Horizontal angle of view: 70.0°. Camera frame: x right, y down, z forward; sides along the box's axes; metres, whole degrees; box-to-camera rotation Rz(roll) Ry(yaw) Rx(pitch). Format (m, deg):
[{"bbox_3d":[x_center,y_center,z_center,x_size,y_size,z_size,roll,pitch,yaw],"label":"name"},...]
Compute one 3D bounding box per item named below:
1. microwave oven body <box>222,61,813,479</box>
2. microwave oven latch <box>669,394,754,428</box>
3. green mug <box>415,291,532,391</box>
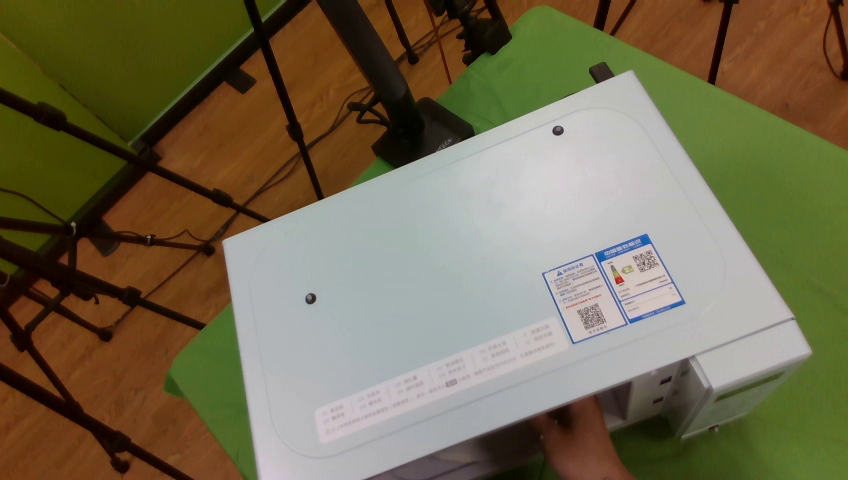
[{"bbox_3d":[0.068,0.076,0.634,0.441,0.263,0.322,-23,61,5],"label":"microwave oven body"},{"bbox_3d":[0.300,0.170,0.633,0.079,0.030,0.030,-21,61,6],"label":"microwave oven latch"},{"bbox_3d":[0.054,0.112,0.620,0.124,0.106,0.092,29,78,23],"label":"green mug"}]
